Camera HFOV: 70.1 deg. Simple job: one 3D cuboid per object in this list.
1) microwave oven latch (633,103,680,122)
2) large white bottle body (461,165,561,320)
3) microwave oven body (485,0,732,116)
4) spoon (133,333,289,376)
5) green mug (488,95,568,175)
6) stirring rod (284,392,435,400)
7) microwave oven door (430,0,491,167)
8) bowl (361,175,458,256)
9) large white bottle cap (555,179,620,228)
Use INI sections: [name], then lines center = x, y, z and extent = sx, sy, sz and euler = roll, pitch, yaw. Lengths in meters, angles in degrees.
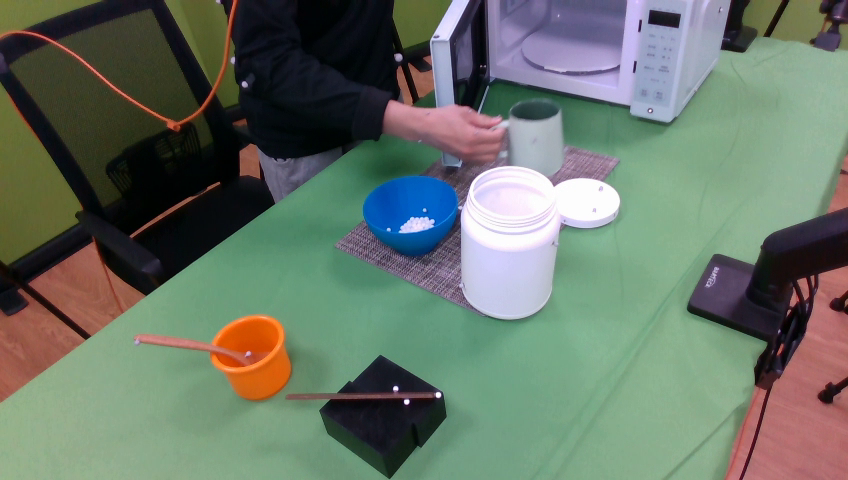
[microwave oven latch]
center = 0.443, -0.249, 1.157
extent = 0.078, 0.029, 0.030
euler = 20, 48, 30
[large white bottle body]
center = 0.115, 0.004, 0.815
extent = 0.130, 0.185, 0.130
euler = -2, 43, 2
[microwave oven body]
center = 0.377, -0.462, 1.267
extent = 0.438, 0.261, 0.327
euler = 21, 48, 30
[spoon]
center = -0.257, 0.137, 0.747
extent = 0.021, 0.195, 0.041
euler = -47, 40, 23
[green mug]
center = 0.165, -0.164, 0.959
extent = 0.125, 0.105, 0.092
euler = -3, 37, 8
[stirring rod]
center = -0.075, 0.180, 0.698
extent = 0.176, 0.006, 0.014
euler = -2, 6, 6
[microwave oven door]
center = 0.079, -0.340, 1.160
extent = 0.039, 0.245, 0.355
euler = 5, 42, 14
[bowl]
center = -0.019, -0.028, 0.955
extent = 0.151, 0.077, 0.150
euler = -4, 40, 4
[large white bottle cap]
center = 0.265, -0.062, 1.001
extent = 0.115, 0.018, 0.114
euler = -3, 41, 4
